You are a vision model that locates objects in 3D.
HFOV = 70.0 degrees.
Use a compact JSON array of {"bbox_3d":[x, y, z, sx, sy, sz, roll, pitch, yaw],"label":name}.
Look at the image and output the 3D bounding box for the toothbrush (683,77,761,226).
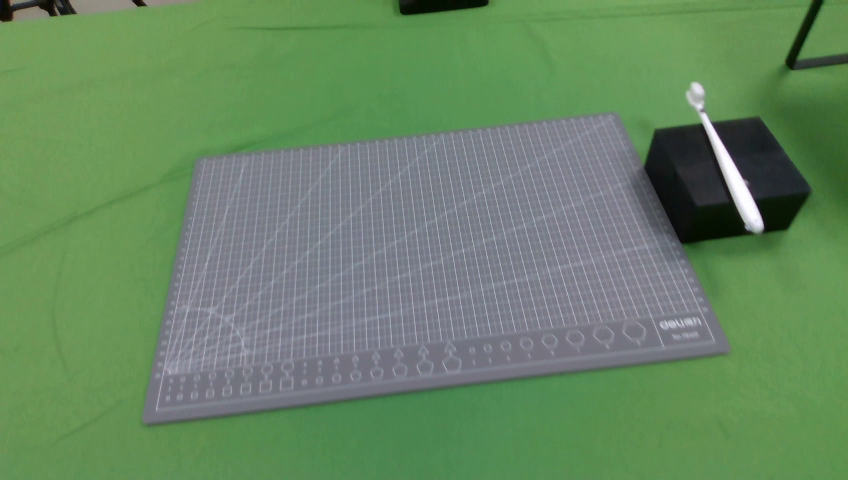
[{"bbox_3d":[0.258,-0.083,0.528,0.014,0.017,0.180,-1,51,0],"label":"toothbrush"}]
